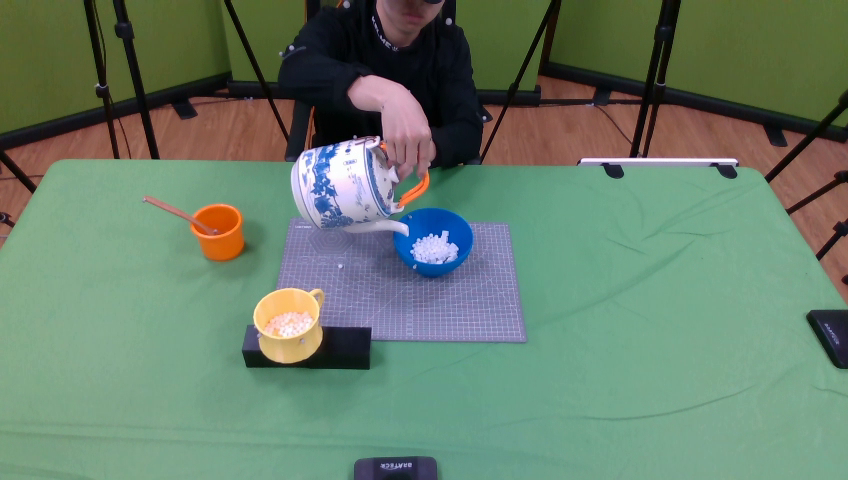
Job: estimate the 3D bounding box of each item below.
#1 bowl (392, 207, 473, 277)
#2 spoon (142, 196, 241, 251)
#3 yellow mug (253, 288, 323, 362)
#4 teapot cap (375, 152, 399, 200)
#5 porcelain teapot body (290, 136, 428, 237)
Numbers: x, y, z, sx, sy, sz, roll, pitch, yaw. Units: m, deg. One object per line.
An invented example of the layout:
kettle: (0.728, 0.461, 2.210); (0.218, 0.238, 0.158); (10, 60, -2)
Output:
bowl: (0.014, 0.016, 1.140); (0.151, 0.077, 0.150); (2, 47, -2)
spoon: (-0.421, -0.032, 1.108); (0.021, 0.195, 0.041); (-32, 39, 27)
yellow mug: (-0.205, 0.124, 0.963); (0.099, 0.064, 0.130); (28, 48, 20)
teapot cap: (-0.066, -0.111, 1.041); (0.044, 0.085, 0.084); (-9, 45, 8)
porcelain teapot body: (-0.096, -0.081, 1.066); (0.225, 0.206, 0.144); (-12, 37, 11)
